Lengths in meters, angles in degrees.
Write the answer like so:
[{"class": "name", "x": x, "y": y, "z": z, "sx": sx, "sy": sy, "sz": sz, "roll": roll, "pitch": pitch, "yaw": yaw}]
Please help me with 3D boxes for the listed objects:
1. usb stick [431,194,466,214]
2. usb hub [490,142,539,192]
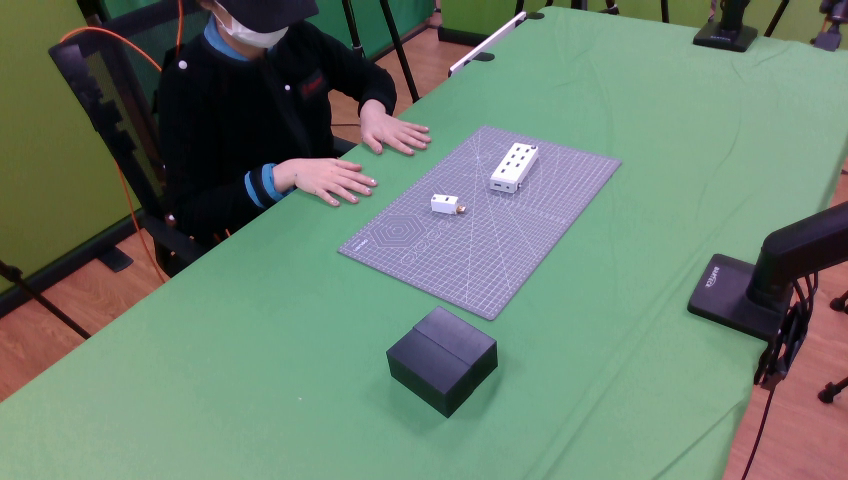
[{"class": "usb stick", "x": 0.043, "y": -0.060, "z": 1.025, "sx": 0.059, "sy": 0.027, "sz": 0.021, "roll": 12, "pitch": 43, "yaw": 17}, {"class": "usb hub", "x": 0.165, "y": -0.132, "z": 1.092, "sx": 0.049, "sy": 0.025, "sz": 0.125, "roll": 15, "pitch": 46, "yaw": 24}]
